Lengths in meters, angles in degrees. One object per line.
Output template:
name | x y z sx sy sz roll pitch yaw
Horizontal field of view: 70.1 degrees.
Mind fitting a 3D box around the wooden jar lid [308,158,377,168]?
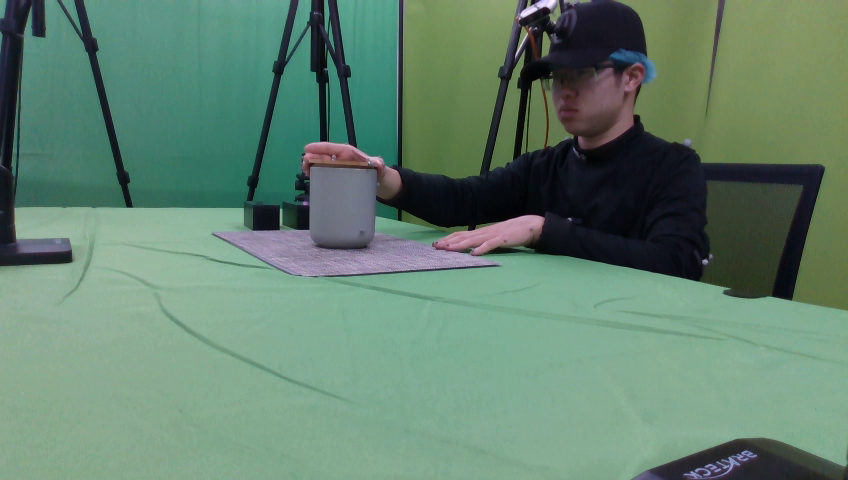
wooden jar lid | -0.129 -0.118 0.956 0.108 0.020 0.108 4 6 0

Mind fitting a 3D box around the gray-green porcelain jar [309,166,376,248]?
gray-green porcelain jar | -0.130 -0.054 0.966 0.106 0.126 0.106 2 7 0
